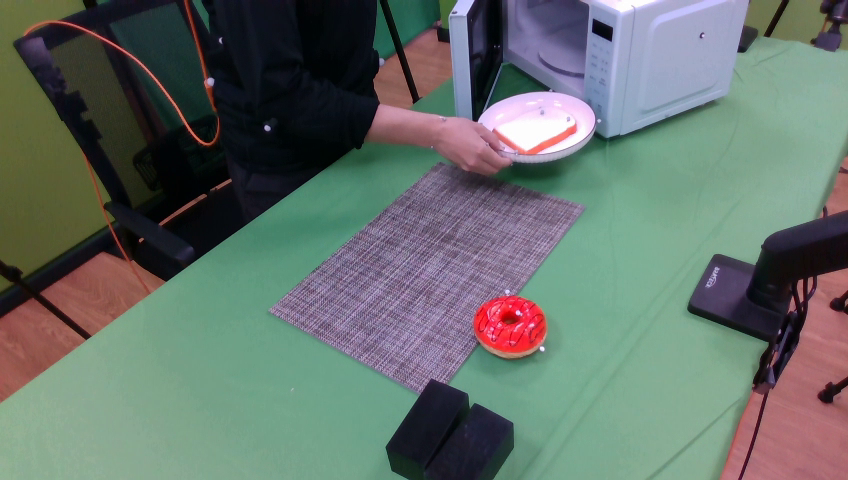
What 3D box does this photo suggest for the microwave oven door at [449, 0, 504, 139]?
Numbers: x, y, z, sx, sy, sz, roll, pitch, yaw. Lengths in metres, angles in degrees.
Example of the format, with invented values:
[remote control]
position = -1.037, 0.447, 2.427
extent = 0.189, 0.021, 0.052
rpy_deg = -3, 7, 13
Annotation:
[microwave oven door]
position = 0.113, -0.404, 1.229
extent = 0.039, 0.245, 0.355
rpy_deg = 6, 42, 15

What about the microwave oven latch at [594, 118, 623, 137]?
[microwave oven latch]
position = 0.337, -0.222, 1.142
extent = 0.030, 0.029, 0.078
rpy_deg = -20, 42, -14

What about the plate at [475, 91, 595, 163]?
[plate]
position = 0.195, -0.196, 1.070
extent = 0.207, 0.039, 0.206
rpy_deg = -6, 42, 6

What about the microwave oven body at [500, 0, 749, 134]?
[microwave oven body]
position = 0.382, -0.444, 1.246
extent = 0.327, 0.261, 0.437
rpy_deg = -22, 42, -16

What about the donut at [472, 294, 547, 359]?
[donut]
position = 0.114, 0.114, 0.803
extent = 0.099, 0.048, 0.098
rpy_deg = 0, 40, 1

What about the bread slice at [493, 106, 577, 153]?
[bread slice]
position = 0.202, -0.198, 1.073
extent = 0.132, 0.019, 0.104
rpy_deg = -28, 46, -17
